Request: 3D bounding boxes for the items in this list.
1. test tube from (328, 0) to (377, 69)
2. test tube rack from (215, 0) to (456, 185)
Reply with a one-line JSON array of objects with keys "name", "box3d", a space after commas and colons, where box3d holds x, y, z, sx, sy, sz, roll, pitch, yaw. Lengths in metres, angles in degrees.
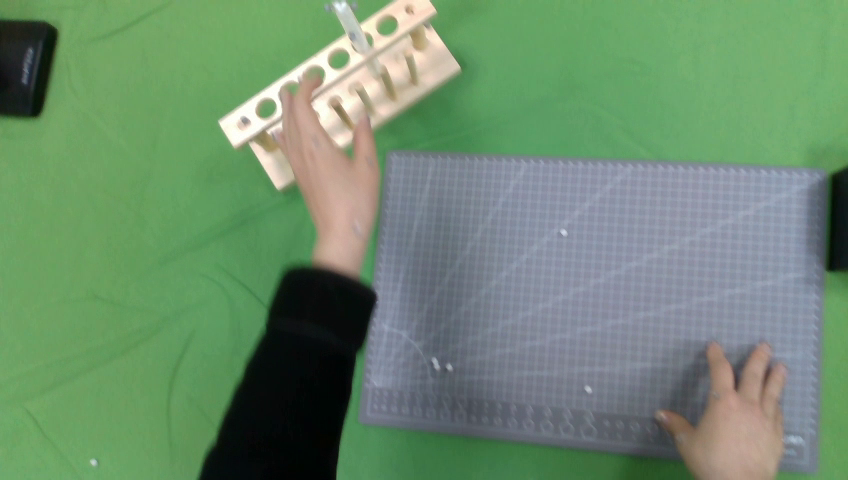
[{"name": "test tube", "box3d": [-0.066, -0.201, 0.592, 0.017, 0.151, 0.017, -1, 84, 8]}, {"name": "test tube rack", "box3d": [-0.088, -0.160, 0.641, 0.242, 0.085, 0.066, -34, 79, 3]}]
